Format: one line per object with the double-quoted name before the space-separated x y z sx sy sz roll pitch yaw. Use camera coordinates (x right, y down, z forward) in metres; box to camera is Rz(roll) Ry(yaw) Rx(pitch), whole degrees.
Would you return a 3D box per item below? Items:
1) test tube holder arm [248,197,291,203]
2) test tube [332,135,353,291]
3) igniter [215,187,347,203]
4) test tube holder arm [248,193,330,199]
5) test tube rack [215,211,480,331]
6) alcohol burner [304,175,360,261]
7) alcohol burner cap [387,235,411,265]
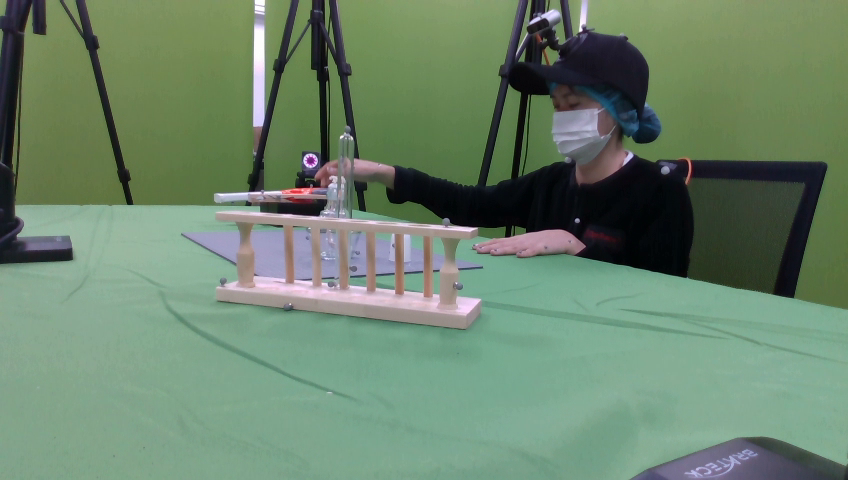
"test tube holder arm" -0.303 -0.080 1.191 0.088 0.010 0.015 -7 18 -40
"test tube" -0.078 -0.025 0.581 0.017 0.150 0.017 3 7 0
"igniter" -0.292 -0.095 1.266 0.278 0.025 0.057 -6 12 -34
"test tube holder arm" -0.268 -0.089 1.218 0.179 0.013 0.015 -6 17 -40
"test tube rack" -0.071 0.023 0.565 0.242 0.085 0.067 5 7 16
"alcohol burner" -0.126 -0.031 0.838 0.078 0.119 0.078 3 5 0
"alcohol burner cap" -0.035 0.009 0.839 0.034 0.048 0.034 2 6 0
